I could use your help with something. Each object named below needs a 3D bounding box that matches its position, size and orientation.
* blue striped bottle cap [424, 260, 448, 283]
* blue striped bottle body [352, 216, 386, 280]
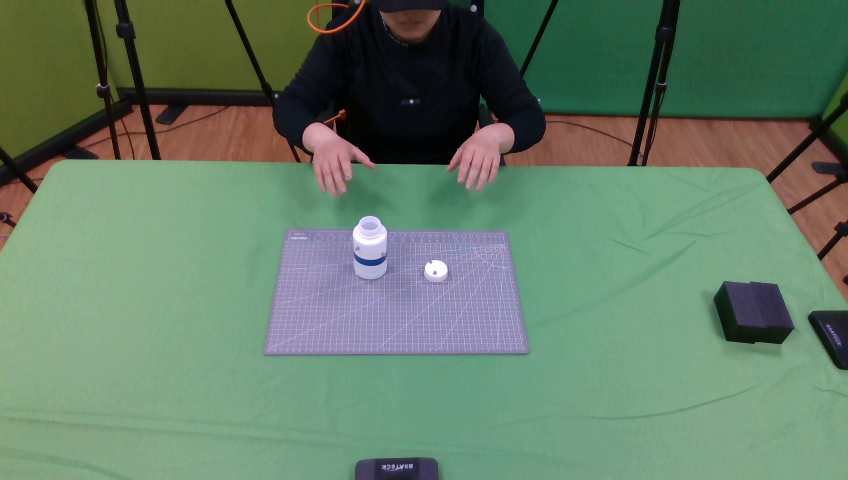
[{"bbox_3d":[0.022,0.059,1.145,0.044,0.021,0.044,2,47,-1],"label":"blue striped bottle cap"},{"bbox_3d":[-0.100,0.012,1.107,0.063,0.121,0.062,2,46,-2],"label":"blue striped bottle body"}]
